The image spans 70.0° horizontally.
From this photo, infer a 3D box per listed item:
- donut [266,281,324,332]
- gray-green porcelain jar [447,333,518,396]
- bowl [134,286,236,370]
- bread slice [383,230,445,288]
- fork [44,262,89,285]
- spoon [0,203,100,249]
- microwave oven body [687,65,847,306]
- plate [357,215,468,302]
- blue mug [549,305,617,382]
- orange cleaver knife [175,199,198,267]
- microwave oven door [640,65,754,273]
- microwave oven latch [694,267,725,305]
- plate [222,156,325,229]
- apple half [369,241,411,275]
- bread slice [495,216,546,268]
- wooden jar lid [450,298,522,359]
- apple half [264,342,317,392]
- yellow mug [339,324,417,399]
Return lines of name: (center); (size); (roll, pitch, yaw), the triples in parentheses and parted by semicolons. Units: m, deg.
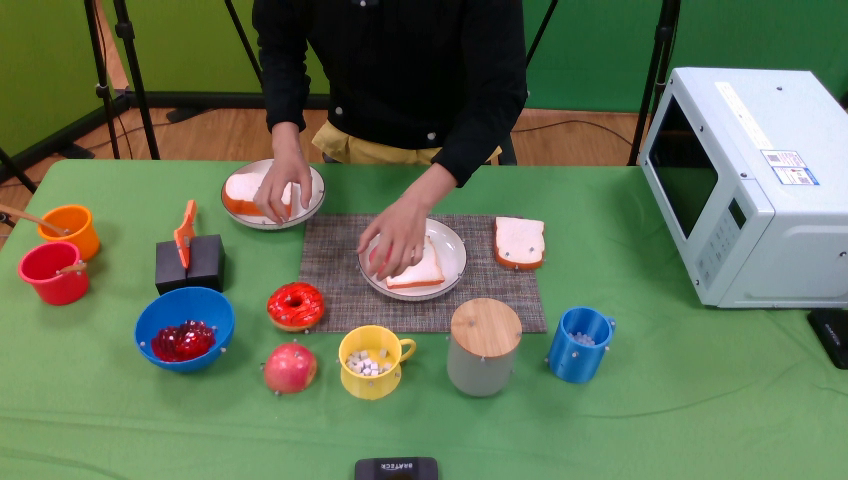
donut: (-0.222, 0.115, 1.049); (0.099, 0.048, 0.098); (2, 45, -2)
gray-green porcelain jar: (0.091, 0.178, 0.960); (0.106, 0.127, 0.105); (2, 46, -2)
bowl: (-0.377, 0.155, 0.981); (0.151, 0.077, 0.150); (2, 46, -2)
bread slice: (-0.028, 0.035, 1.145); (0.107, 0.018, 0.133); (-7, 48, -12)
fork: (-0.598, 0.054, 1.014); (0.207, 0.019, 0.028); (-15, 29, 45)
spoon: (-0.683, -0.031, 1.088); (0.195, 0.021, 0.041); (33, 33, -38)
microwave oven body: (0.669, -0.111, 1.176); (0.326, 0.261, 0.439); (0, 46, -3)
plate: (-0.022, 0.037, 1.141); (0.208, 0.039, 0.206); (2, 46, -2)
blue mug: (0.269, 0.166, 0.998); (0.116, 0.106, 0.082); (-19, 51, -21)
orange cleaver knife: (-0.438, -0.017, 1.138); (0.012, 0.077, 0.210); (-14, 27, -7)
microwave oven door: (0.523, -0.147, 1.193); (0.039, 0.245, 0.353); (0, 47, -3)
microwave oven latch: (0.523, 0.082, 1.115); (0.030, 0.029, 0.078); (3, 46, 0)
plate: (-0.308, -0.095, 1.251); (0.209, 0.038, 0.208); (3, 46, -3)
apple half: (-0.066, 0.024, 1.121); (0.081, 0.033, 0.081); (1, 47, -1)
bread slice: (0.194, 0.002, 1.204); (0.105, 0.019, 0.131); (5, 45, 2)
wooden jar lid: (0.093, 0.135, 0.914); (0.108, 0.021, 0.107); (2, 48, -3)
apple half: (-0.214, 0.198, 0.970); (0.074, 0.053, 0.080); (19, 48, 10)
yellow mug: (-0.072, 0.190, 0.978); (0.131, 0.064, 0.099); (-17, 50, -20)
